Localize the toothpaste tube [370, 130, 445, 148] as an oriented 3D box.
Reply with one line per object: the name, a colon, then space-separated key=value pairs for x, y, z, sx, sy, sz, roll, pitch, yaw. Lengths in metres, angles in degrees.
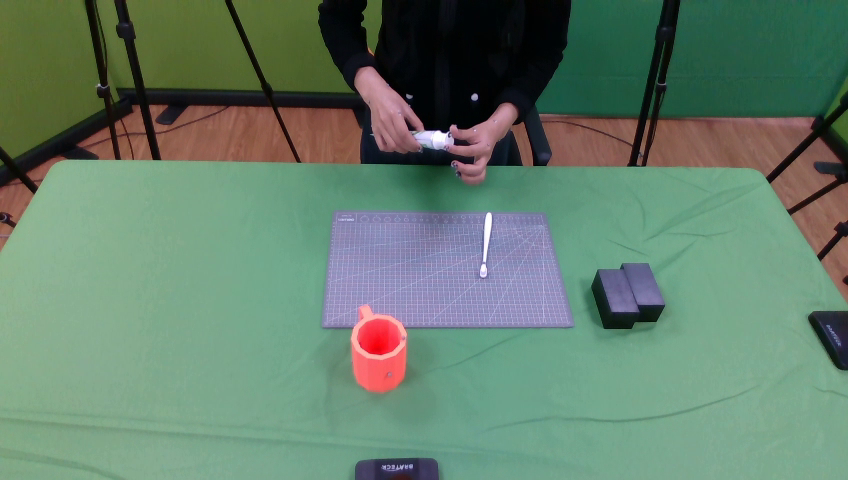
toothpaste tube: x=-0.022 y=-0.195 z=1.152 sx=0.164 sy=0.034 sz=0.055 roll=11 pitch=3 yaw=32

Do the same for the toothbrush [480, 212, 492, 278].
toothbrush: x=0.124 y=0.004 z=1.202 sx=0.014 sy=0.017 sz=0.181 roll=-2 pitch=43 yaw=13

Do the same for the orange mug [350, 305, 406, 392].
orange mug: x=-0.080 y=0.168 z=0.978 sx=0.083 sy=0.101 sz=0.125 roll=-16 pitch=54 yaw=-18

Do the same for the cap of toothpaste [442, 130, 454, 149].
cap of toothpaste: x=0.043 y=-0.184 z=1.107 sx=0.011 sy=0.037 sz=0.037 roll=13 pitch=46 yaw=27
